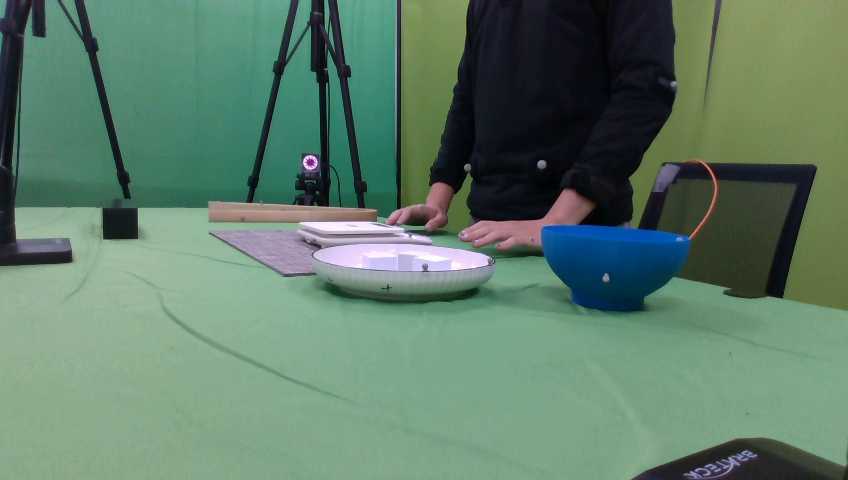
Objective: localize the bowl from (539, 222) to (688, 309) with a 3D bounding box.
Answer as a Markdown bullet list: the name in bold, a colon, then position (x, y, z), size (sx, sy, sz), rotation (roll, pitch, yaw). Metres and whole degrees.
- **bowl**: position (0.196, 0.027, 0.641), size (0.151, 0.077, 0.151), rotation (3, 7, 0)

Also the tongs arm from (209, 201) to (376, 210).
- **tongs arm**: position (-0.306, -0.071, 1.430), size (0.386, 0.026, 0.050), rotation (1, 8, -16)

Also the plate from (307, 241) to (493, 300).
- **plate**: position (-0.027, 0.034, 0.684), size (0.208, 0.039, 0.207), rotation (2, 7, 0)

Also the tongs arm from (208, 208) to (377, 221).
- **tongs arm**: position (-0.280, -0.057, 1.355), size (0.389, 0.028, 0.028), rotation (-2, 5, -28)

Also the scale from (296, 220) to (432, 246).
- **scale**: position (-0.101, -0.012, 1.017), size (0.202, 0.031, 0.148), rotation (-1, 9, -30)
